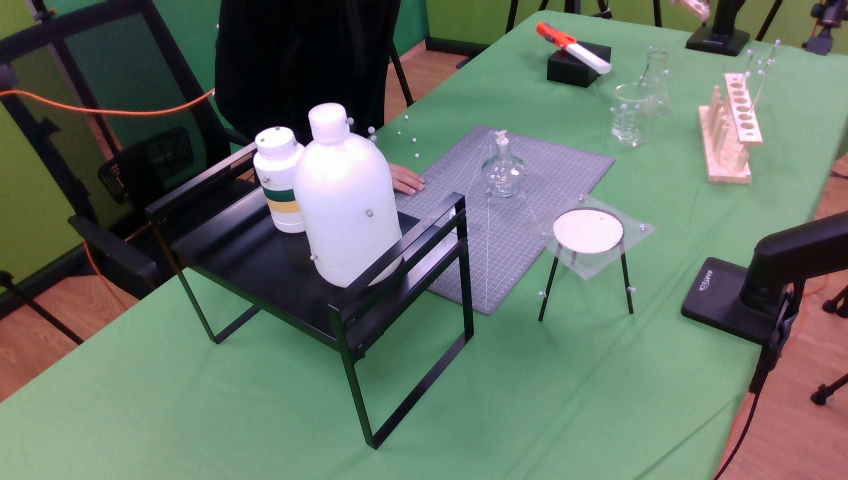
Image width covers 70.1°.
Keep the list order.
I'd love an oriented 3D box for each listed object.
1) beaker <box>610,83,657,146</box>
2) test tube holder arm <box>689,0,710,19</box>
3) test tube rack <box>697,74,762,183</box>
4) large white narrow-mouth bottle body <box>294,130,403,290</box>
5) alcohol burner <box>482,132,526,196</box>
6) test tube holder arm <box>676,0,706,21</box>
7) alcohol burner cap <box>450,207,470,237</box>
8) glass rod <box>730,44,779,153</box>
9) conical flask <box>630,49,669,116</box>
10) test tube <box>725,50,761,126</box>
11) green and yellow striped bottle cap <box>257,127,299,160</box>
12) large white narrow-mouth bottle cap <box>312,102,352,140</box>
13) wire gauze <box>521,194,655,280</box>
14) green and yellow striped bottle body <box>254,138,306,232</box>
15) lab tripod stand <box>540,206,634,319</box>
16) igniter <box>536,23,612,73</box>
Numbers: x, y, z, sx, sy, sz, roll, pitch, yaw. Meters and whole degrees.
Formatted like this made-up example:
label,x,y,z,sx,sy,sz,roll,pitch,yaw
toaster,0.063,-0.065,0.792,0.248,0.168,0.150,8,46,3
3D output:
label,x,y,z,sx,sy,sz,roll,pitch,yaw
beaker,0.388,-0.235,1.138,0.074,0.101,0.083,-31,45,-25
test tube holder arm,0.480,-0.467,1.144,0.013,0.015,0.177,-27,53,1
test tube rack,0.547,-0.208,1.095,0.066,0.085,0.242,5,42,15
large white narrow-mouth bottle body,-0.082,-0.047,0.634,0.102,0.195,0.101,-4,39,3
alcohol burner,0.137,-0.136,1.042,0.078,0.119,0.077,-4,43,4
test tube holder arm,0.490,-0.433,1.117,0.010,0.015,0.087,-27,53,2
alcohol burner cap,0.057,-0.032,0.987,0.034,0.048,0.033,-5,41,5
glass rod,0.555,-0.233,1.020,0.008,0.200,0.008,2,39,-1
conical flask,0.456,-0.316,1.205,0.075,0.122,0.075,-4,41,4
test tube,0.570,-0.269,1.086,0.017,0.151,0.017,-1,46,1
green and yellow striped bottle cap,-0.169,-0.112,0.699,0.045,0.020,0.045,-6,40,6
large white narrow-mouth bottle cap,-0.088,-0.114,0.579,0.038,0.024,0.037,-3,39,3
wire gauze,0.207,-0.012,0.772,0.122,0.011,0.124,-28,44,-20
green and yellow striped bottle body,-0.165,-0.073,0.732,0.063,0.120,0.063,-4,41,4
lab tripod stand,0.218,0.034,0.821,0.148,0.132,0.147,-4,43,4
igniter,0.330,-0.439,1.366,0.057,0.025,0.274,-12,40,-20
